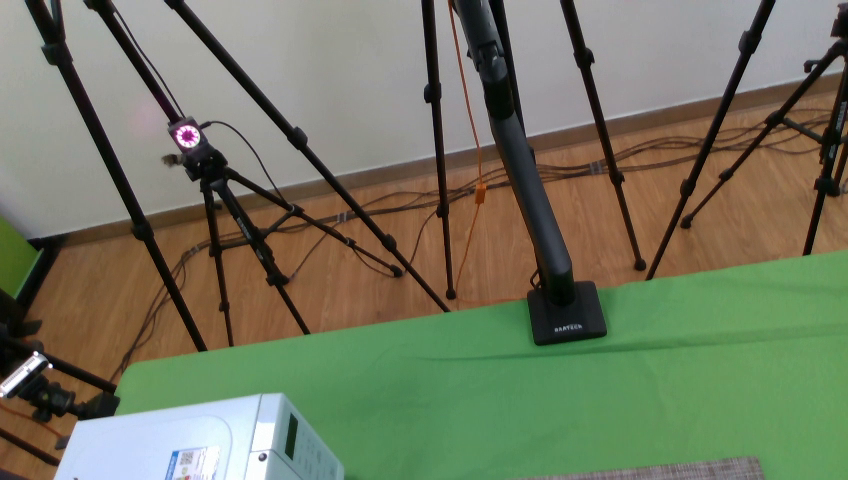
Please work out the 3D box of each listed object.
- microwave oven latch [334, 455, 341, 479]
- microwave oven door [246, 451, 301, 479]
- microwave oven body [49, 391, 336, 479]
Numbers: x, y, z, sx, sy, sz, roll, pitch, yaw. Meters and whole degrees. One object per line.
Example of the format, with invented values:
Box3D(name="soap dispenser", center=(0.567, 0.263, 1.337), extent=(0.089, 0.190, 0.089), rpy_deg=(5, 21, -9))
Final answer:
Box3D(name="microwave oven latch", center=(-0.140, 0.363, 0.899), extent=(0.030, 0.030, 0.078), rpy_deg=(-10, 47, 9))
Box3D(name="microwave oven door", center=(-0.161, 0.453, 0.678), extent=(0.039, 0.246, 0.352), rpy_deg=(-11, 46, 9))
Box3D(name="microwave oven body", center=(-0.303, 0.455, 0.732), extent=(0.326, 0.263, 0.437), rpy_deg=(-11, 47, 9))
